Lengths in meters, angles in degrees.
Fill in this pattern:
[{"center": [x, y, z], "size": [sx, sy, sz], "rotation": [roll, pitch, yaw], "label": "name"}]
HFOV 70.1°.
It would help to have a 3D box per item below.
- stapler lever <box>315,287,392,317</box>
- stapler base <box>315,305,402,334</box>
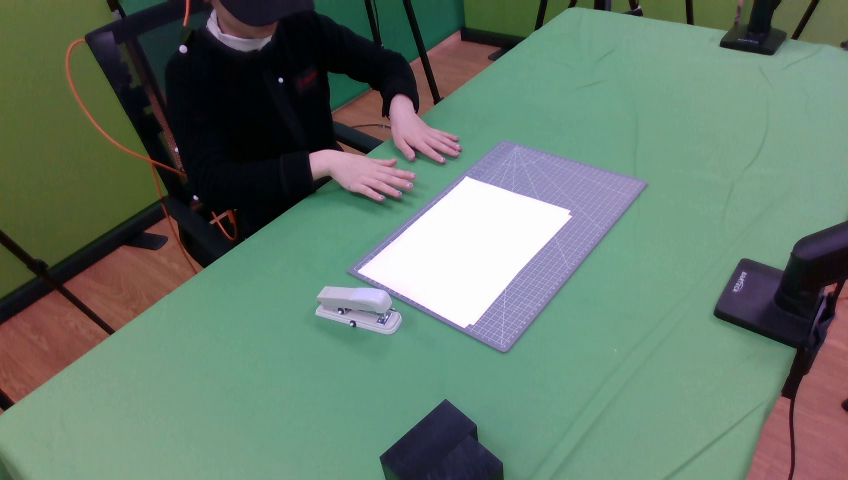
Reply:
[{"center": [-0.101, 0.082, 0.852], "size": [0.117, 0.040, 0.027], "rotation": [10, 41, 22], "label": "stapler lever"}, {"center": [-0.096, 0.102, 0.868], "size": [0.130, 0.024, 0.041], "rotation": [10, 41, 22], "label": "stapler base"}]
